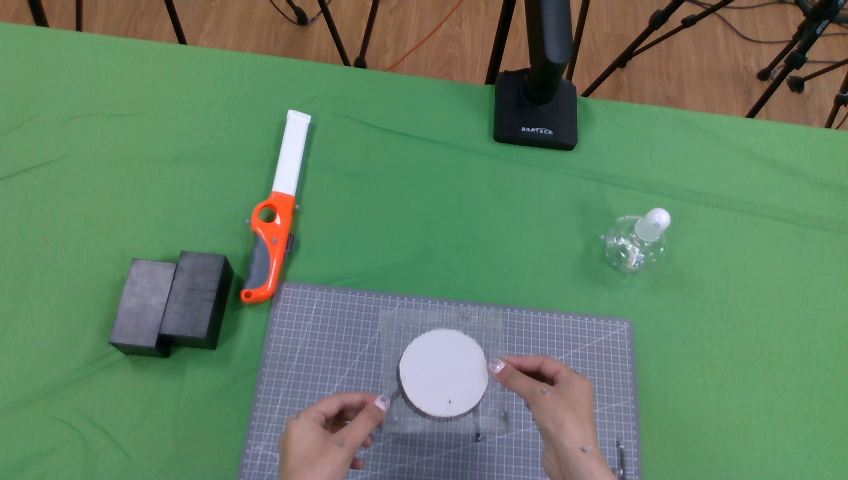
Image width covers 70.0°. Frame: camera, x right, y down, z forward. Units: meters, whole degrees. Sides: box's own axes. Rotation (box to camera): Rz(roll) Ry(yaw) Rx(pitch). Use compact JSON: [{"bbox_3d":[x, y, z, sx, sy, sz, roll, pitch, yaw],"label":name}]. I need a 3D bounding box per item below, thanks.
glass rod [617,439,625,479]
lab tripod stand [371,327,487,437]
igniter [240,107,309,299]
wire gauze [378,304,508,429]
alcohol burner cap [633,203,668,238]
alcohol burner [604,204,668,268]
[{"bbox_3d":[0.220,0.322,0.665,0.008,0.008,0.198,6,66,-4],"label":"glass rod"},{"bbox_3d":[0.011,0.150,0.649,0.148,0.132,0.147,2,65,-3],"label":"lab tripod stand"},{"bbox_3d":[-0.187,-0.052,0.778,0.057,0.025,0.274,14,65,-17],"label":"igniter"},{"bbox_3d":[0.018,0.120,0.588,0.125,0.011,0.120,0,67,-4],"label":"wire gauze"},{"bbox_3d":[0.276,-0.026,0.730,0.034,0.048,0.033,1,70,-1],"label":"alcohol burner cap"},{"bbox_3d":[0.273,-0.011,0.763,0.078,0.120,0.077,3,64,-5],"label":"alcohol burner"}]
